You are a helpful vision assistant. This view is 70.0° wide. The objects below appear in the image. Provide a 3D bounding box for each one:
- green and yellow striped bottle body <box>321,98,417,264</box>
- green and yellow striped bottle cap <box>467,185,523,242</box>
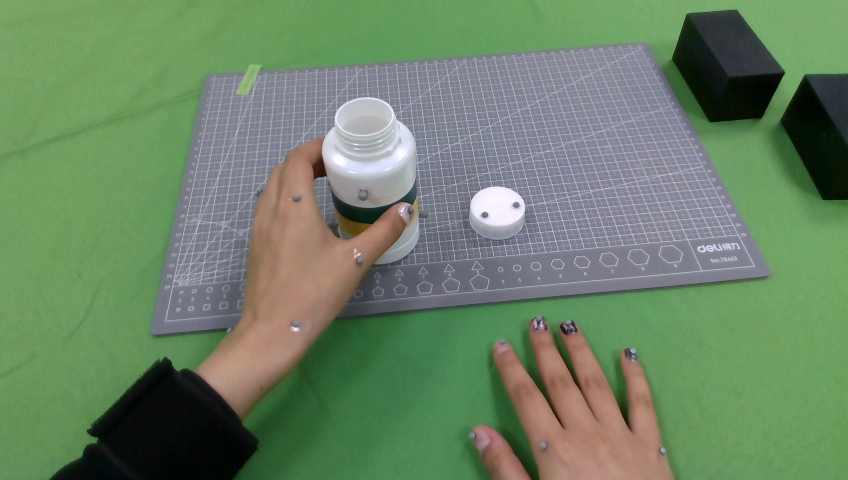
[{"bbox_3d":[-0.037,-0.041,0.430,0.063,0.121,0.062,-1,52,1],"label":"green and yellow striped bottle body"},{"bbox_3d":[0.056,-0.022,0.480,0.045,0.020,0.045,0,53,1],"label":"green and yellow striped bottle cap"}]
